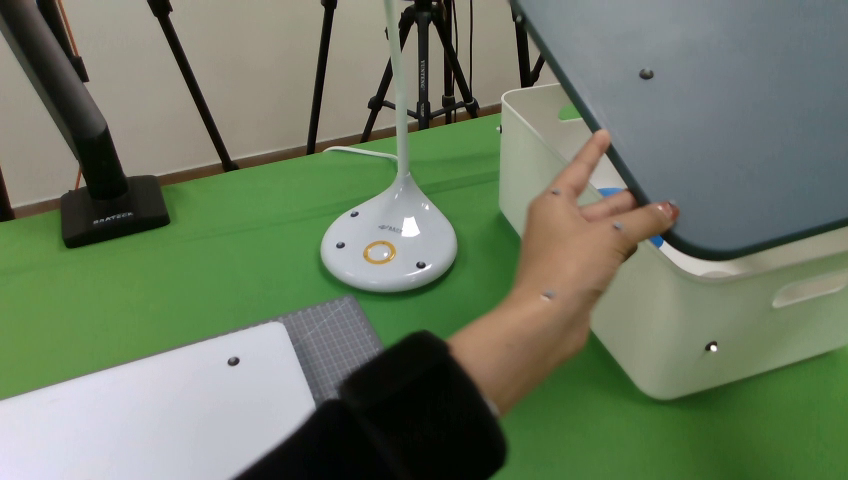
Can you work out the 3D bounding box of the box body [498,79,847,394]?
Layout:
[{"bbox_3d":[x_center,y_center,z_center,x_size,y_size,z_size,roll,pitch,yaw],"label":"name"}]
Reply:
[{"bbox_3d":[0.255,-0.034,0.645,0.255,0.162,0.359,-11,39,-15],"label":"box body"}]

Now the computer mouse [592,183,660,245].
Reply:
[{"bbox_3d":[0.233,-0.032,0.734,0.063,0.041,0.116,-9,43,-17],"label":"computer mouse"}]

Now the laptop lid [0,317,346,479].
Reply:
[{"bbox_3d":[-0.250,0.183,0.451,0.357,0.013,0.239,-14,42,-19],"label":"laptop lid"}]

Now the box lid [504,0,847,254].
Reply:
[{"bbox_3d":[0.232,-0.157,0.482,0.263,0.015,0.367,-15,52,-6],"label":"box lid"}]

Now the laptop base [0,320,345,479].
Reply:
[{"bbox_3d":[-0.251,0.191,0.460,0.355,0.023,0.232,-15,44,-20],"label":"laptop base"}]

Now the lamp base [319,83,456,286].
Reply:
[{"bbox_3d":[-0.041,-0.069,0.672,0.160,0.182,0.178,5,35,7],"label":"lamp base"}]

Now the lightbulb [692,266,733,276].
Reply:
[{"bbox_3d":[0.301,0.073,0.592,0.059,0.060,0.107,-27,66,-31],"label":"lightbulb"}]
